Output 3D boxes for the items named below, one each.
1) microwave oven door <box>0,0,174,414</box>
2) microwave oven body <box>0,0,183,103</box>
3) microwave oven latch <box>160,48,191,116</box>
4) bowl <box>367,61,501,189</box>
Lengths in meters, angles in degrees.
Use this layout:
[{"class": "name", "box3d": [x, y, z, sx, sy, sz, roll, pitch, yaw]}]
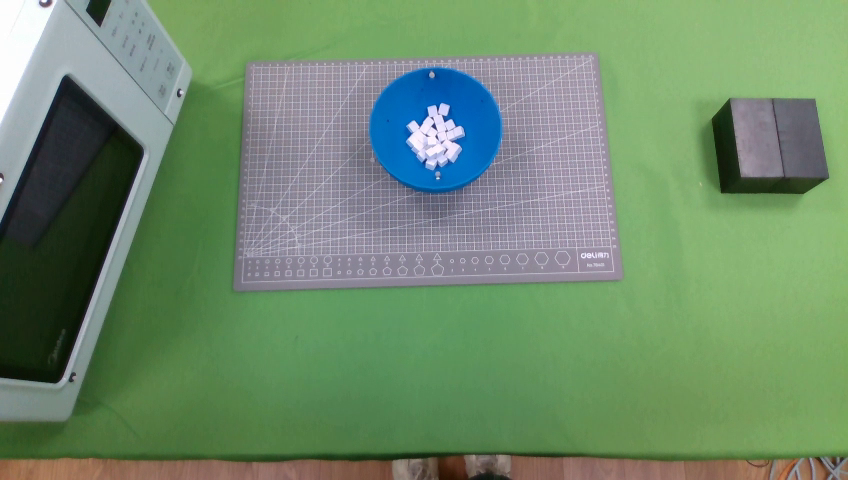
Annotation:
[{"class": "microwave oven door", "box3d": [-0.359, -0.015, 0.578, 0.039, 0.245, 0.354, 12, 75, 4]}, {"class": "microwave oven body", "box3d": [-0.492, -0.084, 0.603, 0.326, 0.261, 0.439, 12, 76, 3]}, {"class": "microwave oven latch", "box3d": [-0.307, -0.193, 0.732, 0.030, 0.029, 0.079, 13, 76, 4]}, {"class": "bowl", "box3d": [0.012, -0.121, 0.706, 0.151, 0.077, 0.150, 0, 75, 1]}]
